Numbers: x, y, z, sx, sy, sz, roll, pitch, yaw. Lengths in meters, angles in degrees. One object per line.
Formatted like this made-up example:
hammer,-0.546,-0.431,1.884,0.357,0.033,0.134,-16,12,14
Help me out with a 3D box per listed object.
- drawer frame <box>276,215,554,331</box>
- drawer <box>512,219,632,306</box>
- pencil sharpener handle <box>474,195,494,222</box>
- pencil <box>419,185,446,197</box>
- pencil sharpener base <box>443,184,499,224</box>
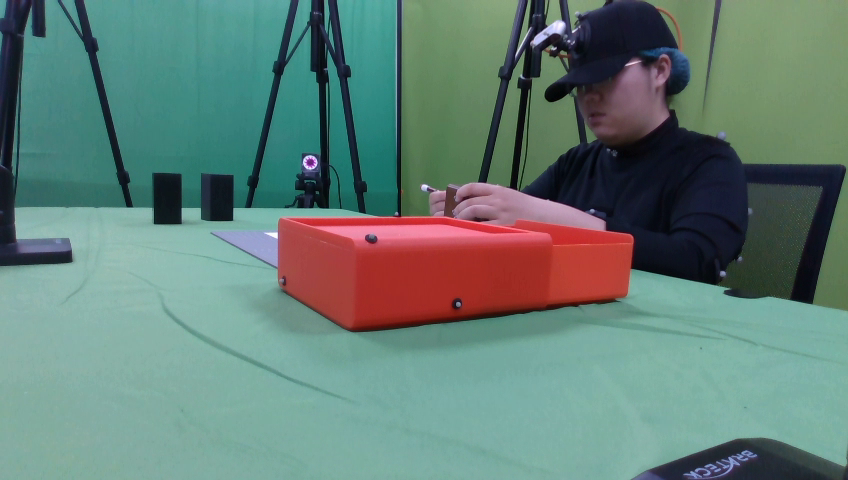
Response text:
drawer frame,-0.015,0.022,0.610,0.215,0.082,0.200,-2,9,-32
drawer,0.085,0.021,0.674,0.213,0.073,0.193,-2,9,-32
pencil sharpener handle,0.100,-0.034,0.939,0.036,0.067,0.030,-5,15,-27
pencil,0.038,-0.079,1.054,0.012,0.012,0.193,-1,13,-28
pencil sharpener base,0.074,-0.033,0.984,0.061,0.107,0.076,0,13,-28
